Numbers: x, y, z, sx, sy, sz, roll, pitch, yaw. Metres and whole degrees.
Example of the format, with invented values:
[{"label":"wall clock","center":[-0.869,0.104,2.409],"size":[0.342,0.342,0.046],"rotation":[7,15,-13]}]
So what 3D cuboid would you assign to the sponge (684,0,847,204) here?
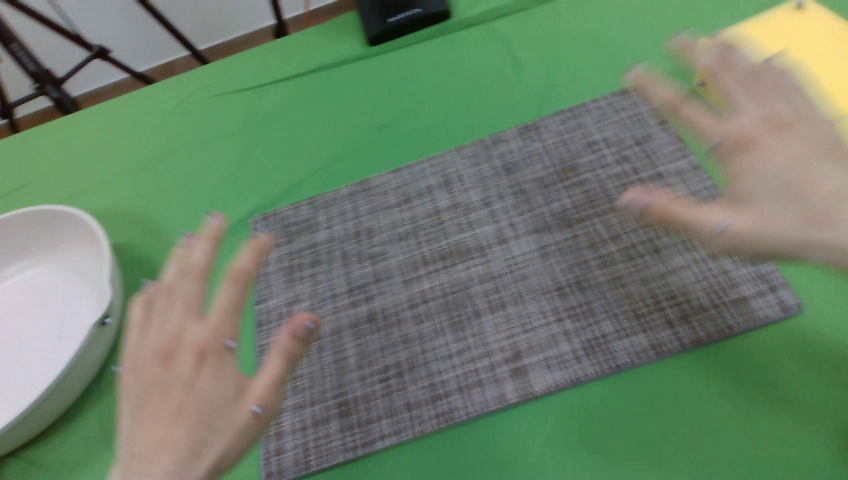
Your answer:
[{"label":"sponge","center":[0.356,-0.141,0.557],"size":[0.118,0.061,0.204],"rotation":[-25,52,-3]}]

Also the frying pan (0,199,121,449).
[{"label":"frying pan","center":[-0.442,0.165,0.541],"size":[0.306,0.104,0.483],"rotation":[-8,45,11]}]
